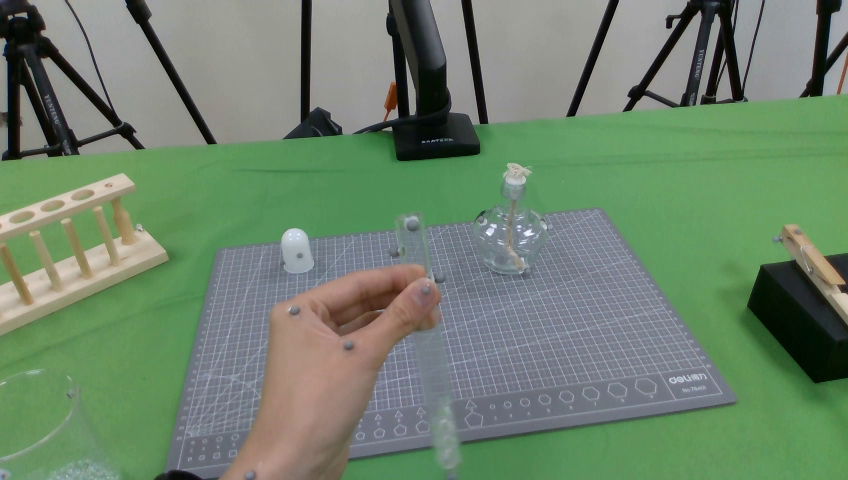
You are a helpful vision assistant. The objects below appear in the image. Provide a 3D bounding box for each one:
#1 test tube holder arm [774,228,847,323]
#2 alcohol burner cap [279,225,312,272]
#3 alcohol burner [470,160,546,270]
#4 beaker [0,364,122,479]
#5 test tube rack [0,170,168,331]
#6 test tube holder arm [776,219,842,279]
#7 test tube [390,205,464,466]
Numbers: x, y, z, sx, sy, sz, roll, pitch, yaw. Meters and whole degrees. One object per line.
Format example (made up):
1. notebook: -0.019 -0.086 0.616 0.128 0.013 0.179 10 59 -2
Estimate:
1. test tube holder arm: 0.343 0.040 0.511 0.015 0.013 0.176 -1 36 1
2. alcohol burner cap: -0.138 0.006 0.638 0.034 0.048 0.033 -2 36 2
3. alcohol burner: 0.087 -0.029 0.614 0.078 0.120 0.077 0 36 0
4. beaker: -0.257 0.145 0.408 0.084 0.101 0.073 -2 36 2
5. test tube rack: -0.394 0.021 0.598 0.242 0.086 0.066 -29 44 -32
6. test tube holder arm: 0.344 0.009 0.543 0.015 0.010 0.087 0 37 1
7. test tube: 0.003 0.055 0.329 0.017 0.151 0.017 -10 12 2
